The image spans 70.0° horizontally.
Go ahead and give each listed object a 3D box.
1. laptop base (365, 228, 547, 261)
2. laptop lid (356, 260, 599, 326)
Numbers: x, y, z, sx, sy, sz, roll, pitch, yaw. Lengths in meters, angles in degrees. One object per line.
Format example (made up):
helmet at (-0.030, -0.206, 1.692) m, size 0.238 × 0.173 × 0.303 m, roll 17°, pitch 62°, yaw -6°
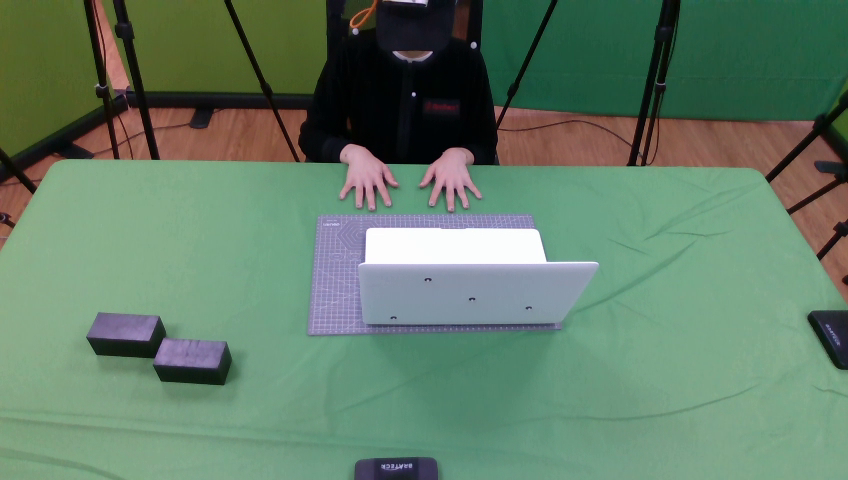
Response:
laptop base at (0.064, 0.063, 1.143) m, size 0.355 × 0.023 × 0.234 m, roll 0°, pitch 42°, yaw -4°
laptop lid at (0.074, 0.089, 0.958) m, size 0.357 × 0.242 × 0.013 m, roll 1°, pitch 60°, yaw -5°
